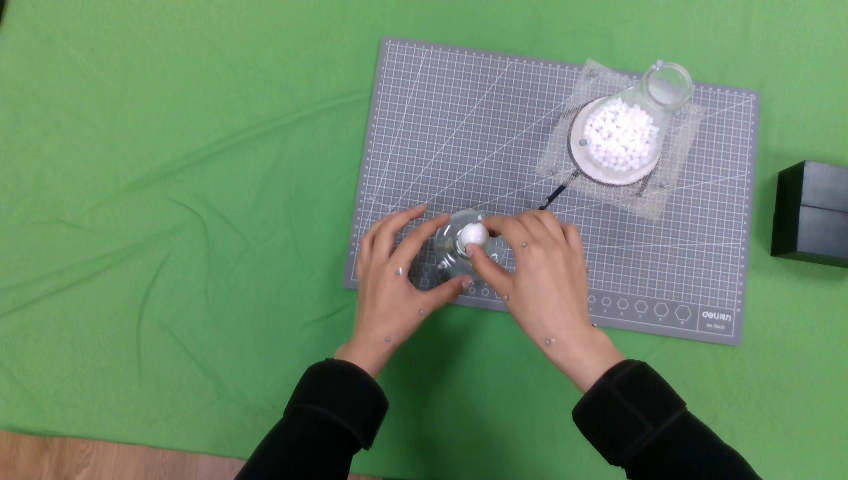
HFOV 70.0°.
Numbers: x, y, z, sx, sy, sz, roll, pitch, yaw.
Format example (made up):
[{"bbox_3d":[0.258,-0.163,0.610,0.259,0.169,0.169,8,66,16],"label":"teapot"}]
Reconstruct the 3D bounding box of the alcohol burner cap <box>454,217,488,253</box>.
[{"bbox_3d":[0.046,-0.007,0.592,0.034,0.048,0.034,0,82,-1],"label":"alcohol burner cap"}]

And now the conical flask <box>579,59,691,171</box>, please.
[{"bbox_3d":[0.181,-0.108,0.508,0.075,0.122,0.075,0,82,0],"label":"conical flask"}]

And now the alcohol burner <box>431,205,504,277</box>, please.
[{"bbox_3d":[0.046,0.000,0.628,0.078,0.119,0.077,0,85,0],"label":"alcohol burner"}]

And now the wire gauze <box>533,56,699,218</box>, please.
[{"bbox_3d":[0.182,-0.097,0.565,0.121,0.011,0.125,26,81,1],"label":"wire gauze"}]

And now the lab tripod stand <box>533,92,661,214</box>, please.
[{"bbox_3d":[0.176,-0.091,0.631,0.148,0.132,0.148,0,82,1],"label":"lab tripod stand"}]
